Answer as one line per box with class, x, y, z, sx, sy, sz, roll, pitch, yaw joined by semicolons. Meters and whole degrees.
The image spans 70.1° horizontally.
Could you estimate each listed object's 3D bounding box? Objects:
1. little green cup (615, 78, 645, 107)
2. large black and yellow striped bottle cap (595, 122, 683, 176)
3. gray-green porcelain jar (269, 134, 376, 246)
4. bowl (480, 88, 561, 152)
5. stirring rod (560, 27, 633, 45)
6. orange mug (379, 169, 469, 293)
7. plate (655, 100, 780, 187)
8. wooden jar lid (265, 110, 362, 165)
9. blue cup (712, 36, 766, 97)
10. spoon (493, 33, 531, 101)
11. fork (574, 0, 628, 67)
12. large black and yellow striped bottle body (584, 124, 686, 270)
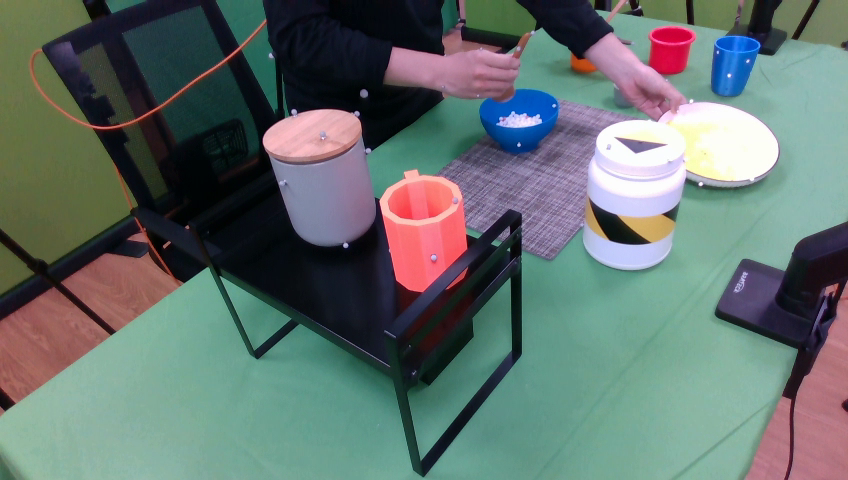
little green cup;0.426;-0.306;1.257;0.061;0.039;0.061;-4;40;4
large black and yellow striped bottle cap;0.293;-0.126;0.826;0.115;0.019;0.114;-3;40;3
gray-green porcelain jar;-0.115;-0.064;0.715;0.106;0.127;0.105;-4;40;4
bowl;0.185;-0.222;1.160;0.151;0.077;0.150;-5;40;4
stirring rod;0.381;-0.454;1.344;0.174;0.006;0.014;26;49;33
orange mug;-0.002;-0.019;0.665;0.083;0.101;0.125;-12;45;-4
plate;0.507;-0.166;1.061;0.209;0.038;0.208;-2;51;3
wooden jar lid;-0.122;-0.112;0.673;0.108;0.021;0.108;-4;37;4
blue cup;0.627;-0.350;1.227;0.092;0.100;0.092;-4;39;4
spoon;0.147;-0.281;0.997;0.042;0.194;0.021;-9;70;-7
fork;0.413;-0.481;1.377;0.207;0.019;0.028;-56;43;12
large black and yellow striped bottle body;0.304;-0.063;0.880;0.131;0.185;0.130;-5;41;5
